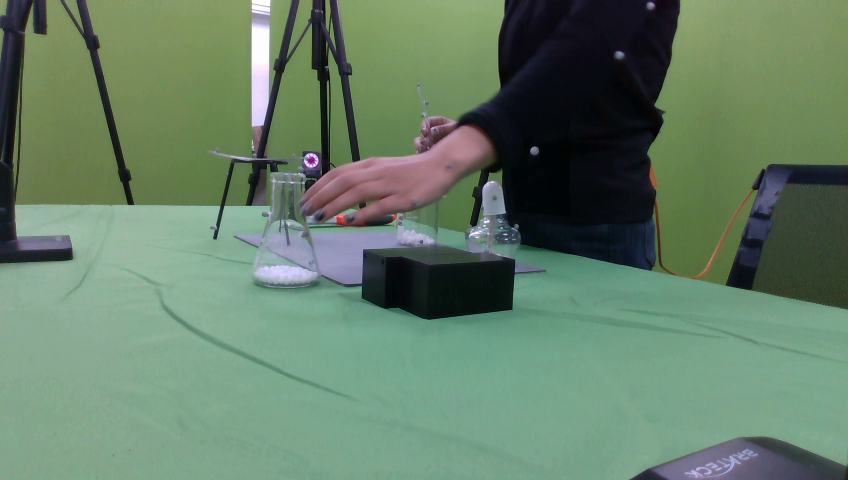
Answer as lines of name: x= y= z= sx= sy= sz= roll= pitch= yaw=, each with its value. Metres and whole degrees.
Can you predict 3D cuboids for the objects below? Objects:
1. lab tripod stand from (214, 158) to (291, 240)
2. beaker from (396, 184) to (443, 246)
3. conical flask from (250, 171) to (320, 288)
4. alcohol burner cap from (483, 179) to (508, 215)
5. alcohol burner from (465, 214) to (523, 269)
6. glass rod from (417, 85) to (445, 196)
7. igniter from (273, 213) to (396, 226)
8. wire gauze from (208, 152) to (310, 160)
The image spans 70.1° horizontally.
lab tripod stand: x=-0.268 y=-0.068 z=1.002 sx=0.148 sy=0.131 sz=0.148 roll=3 pitch=6 yaw=0
beaker: x=-0.011 y=-0.043 z=1.004 sx=0.083 sy=0.100 sz=0.074 roll=8 pitch=9 yaw=39
conical flask: x=-0.150 y=-0.013 z=0.658 sx=0.075 sy=0.122 sz=0.075 roll=2 pitch=7 yaw=0
alcohol burner cap: x=0.094 y=-0.057 z=0.810 sx=0.034 sy=0.048 sz=0.034 roll=-7 pitch=6 yaw=1
alcohol burner: x=0.094 y=-0.022 z=0.815 sx=0.078 sy=0.119 sz=0.078 roll=0 pitch=7 yaw=0
glass rod: x=0.013 y=-0.171 z=1.035 sx=0.008 sy=0.199 sz=0.008 roll=-13 pitch=-6 yaw=-1
igniter: x=-0.179 y=-0.043 z=1.258 sx=0.278 sy=0.025 sz=0.057 roll=-3 pitch=-1 yaw=-39
wire gauze: x=-0.270 y=-0.135 z=0.994 sx=0.124 sy=0.011 sz=0.122 roll=8 pitch=8 yaw=41
